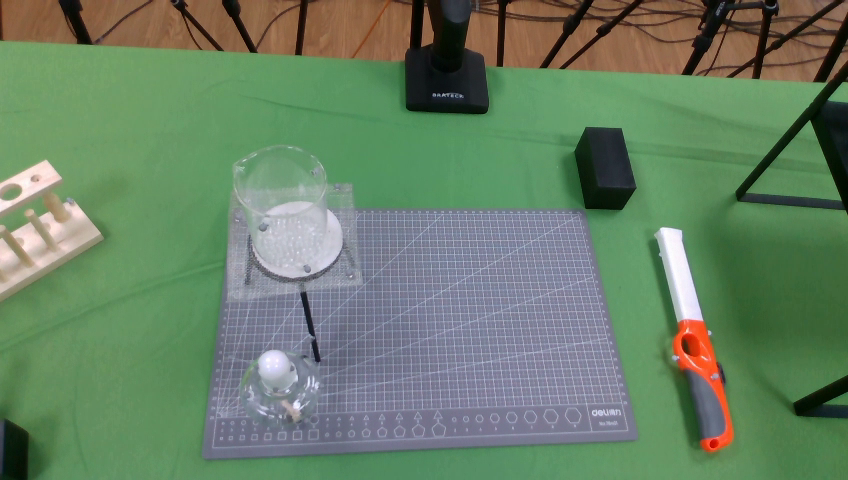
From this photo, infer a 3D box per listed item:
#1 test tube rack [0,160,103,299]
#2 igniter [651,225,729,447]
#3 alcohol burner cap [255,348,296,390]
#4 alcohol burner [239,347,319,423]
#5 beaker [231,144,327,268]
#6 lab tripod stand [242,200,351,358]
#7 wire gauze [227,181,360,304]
[{"bbox_3d":[-0.481,0.022,0.634,0.242,0.086,0.066,-38,70,-25],"label":"test tube rack"},{"bbox_3d":[0.309,0.103,0.712,0.057,0.025,0.274,8,58,-14],"label":"igniter"},{"bbox_3d":[-0.138,0.116,0.555,0.034,0.048,0.033,1,64,-2],"label":"alcohol burner cap"},{"bbox_3d":[-0.141,0.134,0.587,0.078,0.120,0.077,4,57,-6],"label":"alcohol burner"},{"bbox_3d":[-0.127,-0.026,0.539,0.084,0.101,0.073,22,59,6],"label":"beaker"},{"bbox_3d":[-0.130,0.035,0.636,0.148,0.132,0.147,4,59,-6],"label":"lab tripod stand"},{"bbox_3d":[-0.127,-0.003,0.583,0.122,0.011,0.124,-5,64,-8],"label":"wire gauze"}]
